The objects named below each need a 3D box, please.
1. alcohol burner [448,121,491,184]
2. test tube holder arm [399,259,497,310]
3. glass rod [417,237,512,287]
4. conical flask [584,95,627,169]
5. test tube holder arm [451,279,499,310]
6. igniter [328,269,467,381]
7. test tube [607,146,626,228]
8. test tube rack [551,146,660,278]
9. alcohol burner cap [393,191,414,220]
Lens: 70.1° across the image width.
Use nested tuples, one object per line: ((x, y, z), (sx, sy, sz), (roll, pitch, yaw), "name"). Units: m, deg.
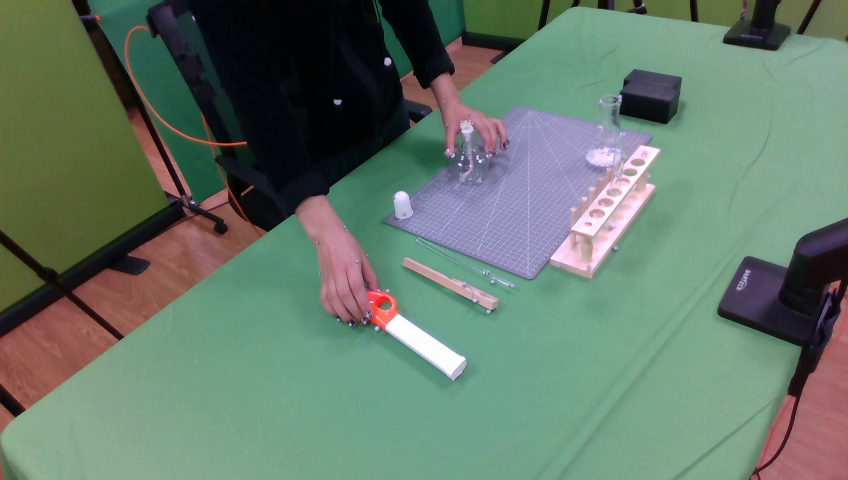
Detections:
((0.081, -0.160, 1.083), (0.078, 0.119, 0.077), (-4, 40, 4), "alcohol burner")
((0.032, 0.064, 0.901), (0.177, 0.015, 0.013), (23, 11, 31), "test tube holder arm")
((0.059, 0.032, 0.945), (0.198, 0.008, 0.008), (26, 52, 38), "glass rod")
((0.323, -0.192, 1.066), (0.075, 0.122, 0.075), (-6, 40, 5), "conical flask")
((0.070, 0.079, 0.882), (0.087, 0.015, 0.010), (23, 11, 33), "test tube holder arm")
((-0.049, 0.111, 0.853), (0.274, 0.025, 0.057), (30, 60, 36), "igniter")
((0.283, -0.074, 0.892), (0.017, 0.151, 0.017), (-5, 44, 6), "test tube")
((0.286, -0.053, 0.943), (0.066, 0.085, 0.243), (21, 49, 32), "test tube rack")
((-0.037, -0.062, 1.044), (0.034, 0.048, 0.033), (-5, 41, 5), "alcohol burner cap")
